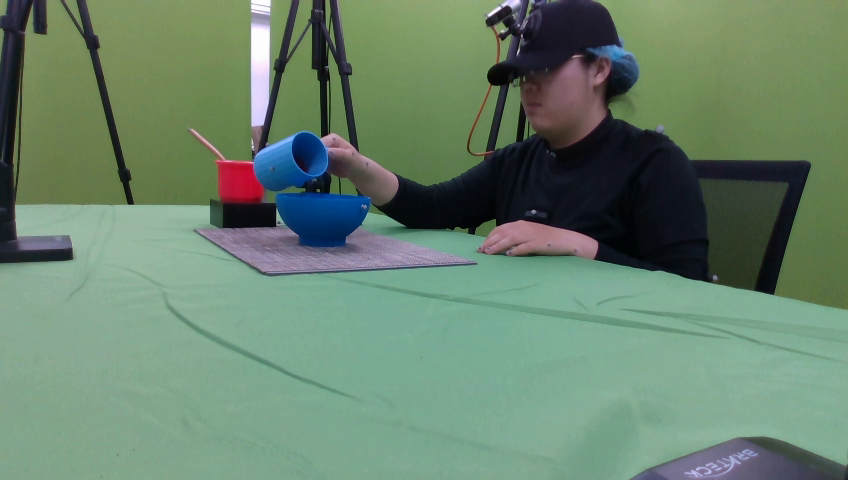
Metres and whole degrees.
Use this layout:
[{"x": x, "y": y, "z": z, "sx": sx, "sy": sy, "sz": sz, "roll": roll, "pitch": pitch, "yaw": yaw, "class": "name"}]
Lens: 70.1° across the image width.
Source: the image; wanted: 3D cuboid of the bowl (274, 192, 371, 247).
[{"x": -0.161, "y": -0.032, "z": 0.958, "sx": 0.151, "sy": 0.077, "sz": 0.151, "roll": 3, "pitch": 7, "yaw": 0, "class": "bowl"}]

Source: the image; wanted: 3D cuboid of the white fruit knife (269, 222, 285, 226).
[{"x": -0.222, "y": -0.037, "z": 1.261, "sx": 0.208, "sy": 0.016, "sz": 0.027, "roll": -4, "pitch": -17, "yaw": -32, "class": "white fruit knife"}]

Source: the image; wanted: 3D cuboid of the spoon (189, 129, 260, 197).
[{"x": -0.388, "y": -0.150, "z": 1.174, "sx": 0.193, "sy": 0.021, "sz": 0.042, "roll": 48, "pitch": 20, "yaw": 7, "class": "spoon"}]

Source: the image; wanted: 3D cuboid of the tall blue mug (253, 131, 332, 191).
[{"x": -0.217, "y": -0.140, "z": 1.022, "sx": 0.107, "sy": 0.078, "sz": 0.107, "roll": -13, "pitch": 35, "yaw": 41, "class": "tall blue mug"}]
